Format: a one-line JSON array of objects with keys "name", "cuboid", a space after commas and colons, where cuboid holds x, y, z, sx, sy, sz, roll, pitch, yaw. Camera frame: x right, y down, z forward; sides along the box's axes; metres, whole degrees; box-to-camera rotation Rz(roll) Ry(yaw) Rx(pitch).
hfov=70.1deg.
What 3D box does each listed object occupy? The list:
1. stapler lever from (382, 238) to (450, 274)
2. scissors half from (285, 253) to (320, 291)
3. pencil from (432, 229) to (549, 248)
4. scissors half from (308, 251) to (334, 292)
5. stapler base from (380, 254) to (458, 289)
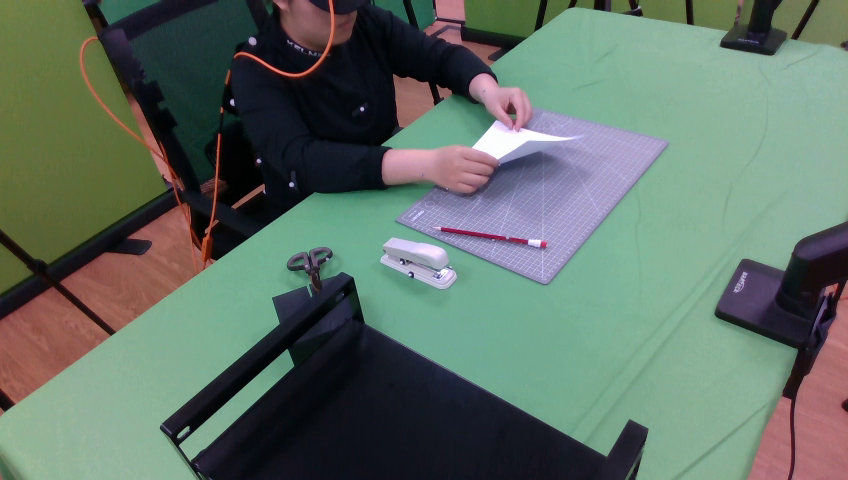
[{"name": "stapler lever", "cuboid": [-0.014, 0.018, 0.919, 0.117, 0.040, 0.027, 21, 45, 31]}, {"name": "scissors half", "cuboid": [-0.179, 0.049, 0.909, 0.040, 0.013, 0.174, -15, 19, -20]}, {"name": "pencil", "cuboid": [0.103, -0.004, 0.970, 0.193, 0.012, 0.012, 7, 42, 18]}, {"name": "scissors half", "cuboid": [-0.159, 0.046, 0.913, 0.040, 0.013, 0.174, -4, 17, -5]}, {"name": "stapler base", "cuboid": [-0.009, 0.037, 0.934, 0.129, 0.024, 0.041, 20, 44, 31]}]
